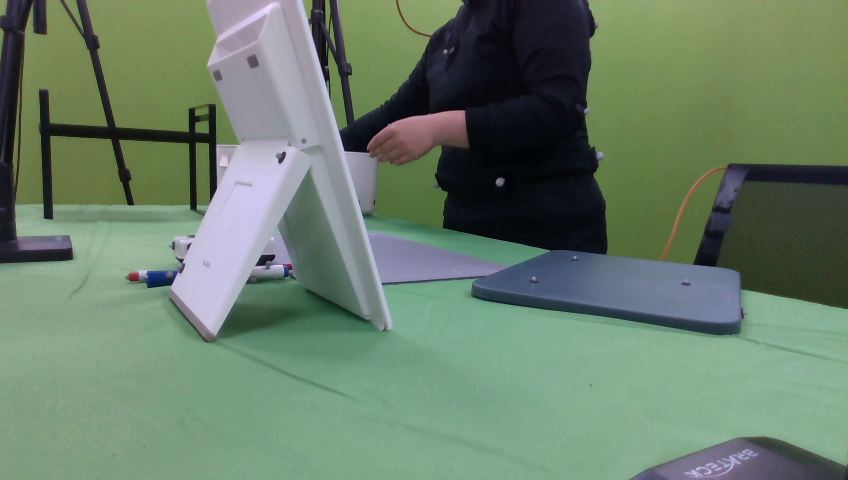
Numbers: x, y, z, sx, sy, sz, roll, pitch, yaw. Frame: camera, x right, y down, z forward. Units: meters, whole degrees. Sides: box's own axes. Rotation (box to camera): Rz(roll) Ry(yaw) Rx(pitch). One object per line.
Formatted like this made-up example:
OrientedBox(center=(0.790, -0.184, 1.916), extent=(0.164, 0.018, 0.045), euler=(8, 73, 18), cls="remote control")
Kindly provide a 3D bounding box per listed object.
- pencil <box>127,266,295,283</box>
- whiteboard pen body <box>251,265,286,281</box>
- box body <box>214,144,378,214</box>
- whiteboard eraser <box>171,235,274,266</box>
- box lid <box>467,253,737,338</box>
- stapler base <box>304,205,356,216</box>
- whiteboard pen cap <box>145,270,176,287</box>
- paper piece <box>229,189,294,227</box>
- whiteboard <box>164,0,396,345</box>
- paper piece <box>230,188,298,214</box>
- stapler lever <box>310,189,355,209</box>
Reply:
OrientedBox(center=(-0.231, 0.037, 0.691), extent=(0.195, 0.012, 0.012), euler=(-2, 9, -34), cls="pencil")
OrientedBox(center=(-0.220, 0.039, 0.656), extent=(0.141, 0.017, 0.017), euler=(-2, 9, -30), cls="whiteboard pen body")
OrientedBox(center=(-0.328, -0.154, 1.543), extent=(0.366, 0.160, 0.253), euler=(-2, 9, -32), cls="box body")
OrientedBox(center=(-0.248, 0.014, 0.747), extent=(0.113, 0.042, 0.055), euler=(-1, 9, -32), cls="whiteboard eraser")
OrientedBox(center=(0.234, 0.054, 0.736), extent=(0.262, 0.015, 0.373), euler=(7, 8, 26), cls="box lid")
OrientedBox(center=(-0.233, -0.077, 1.510), extent=(0.131, 0.024, 0.041), euler=(5, 11, -35), cls="stapler base")
OrientedBox(center=(-0.271, 0.039, 0.627), extent=(0.033, 0.018, 0.018), euler=(-3, 9, -33), cls="whiteboard pen cap")
OrientedBox(center=(-0.397, -0.080, 1.473), extent=(0.139, 0.008, 0.135), euler=(-3, 47, -26), cls="paper piece")
OrientedBox(center=(-0.173, -0.053, 0.511), extent=(0.144, 0.305, 0.216), euler=(-23, 19, -26), cls="whiteboard")
OrientedBox(center=(-0.389, -0.097, 1.465), extent=(0.136, 0.004, 0.134), euler=(3, 26, -32), cls="paper piece")
OrientedBox(center=(-0.228, -0.102, 1.508), extent=(0.119, 0.040, 0.026), euler=(5, 11, -36), cls="stapler lever")
